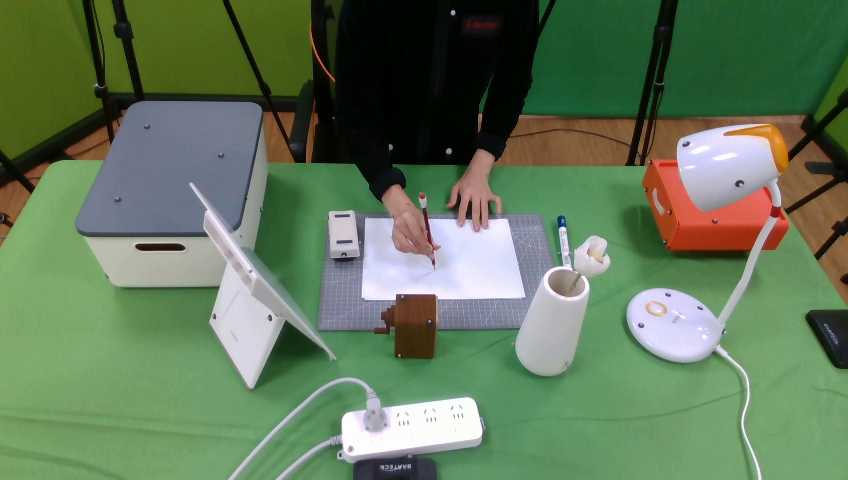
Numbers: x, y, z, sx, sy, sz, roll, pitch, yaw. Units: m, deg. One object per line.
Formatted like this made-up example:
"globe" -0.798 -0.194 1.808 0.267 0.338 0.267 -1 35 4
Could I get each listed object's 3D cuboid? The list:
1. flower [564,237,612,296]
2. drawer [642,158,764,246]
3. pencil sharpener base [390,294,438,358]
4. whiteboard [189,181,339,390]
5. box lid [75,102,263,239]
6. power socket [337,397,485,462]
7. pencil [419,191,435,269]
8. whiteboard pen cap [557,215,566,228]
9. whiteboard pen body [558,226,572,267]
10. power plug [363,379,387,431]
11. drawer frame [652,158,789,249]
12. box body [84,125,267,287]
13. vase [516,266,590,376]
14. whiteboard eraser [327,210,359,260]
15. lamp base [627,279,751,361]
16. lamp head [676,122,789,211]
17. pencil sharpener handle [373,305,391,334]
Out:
"flower" 0.206 0.088 0.893 0.038 0.363 0.044 -17 67 -9
"drawer" 0.565 -0.076 1.211 0.212 0.073 0.193 2 45 -2
"pencil sharpener base" -0.018 0.143 1.000 0.077 0.107 0.061 1 46 -2
"whiteboard" -0.292 0.096 0.929 0.144 0.307 0.216 -37 57 -10
"box lid" -0.443 -0.138 1.094 0.263 0.015 0.369 -1 47 -5
"power socket" -0.018 0.285 0.915 0.227 0.033 0.071 -5 46 -8
"pencil" 0.008 -0.012 1.084 0.012 0.195 0.012 -5 45 5
"whiteboard pen cap" 0.284 -0.035 1.246 0.018 0.018 0.033 4 52 -1
"whiteboard pen body" 0.280 0.010 1.208 0.017 0.017 0.140 3 50 -1
"power plug" -0.072 0.252 0.910 0.035 0.053 0.072 3 45 -1
"drawer frame" 0.571 -0.075 1.214 0.214 0.083 0.200 0 45 -1
"box body" -0.446 -0.088 1.150 0.254 0.161 0.361 -1 46 -5
"vase" 0.208 0.132 0.965 0.098 0.201 0.097 3 46 -3
"whiteboard eraser" -0.158 -0.009 1.177 0.055 0.042 0.112 -5 47 -7
"lamp base" 0.459 0.100 1.027 0.178 0.181 0.160 27 51 17
"lamp head" 0.423 -0.104 0.819 0.122 0.113 0.112 -13 33 40
"pencil sharpener handle" -0.069 0.133 0.989 0.030 0.068 0.036 1 47 -2
